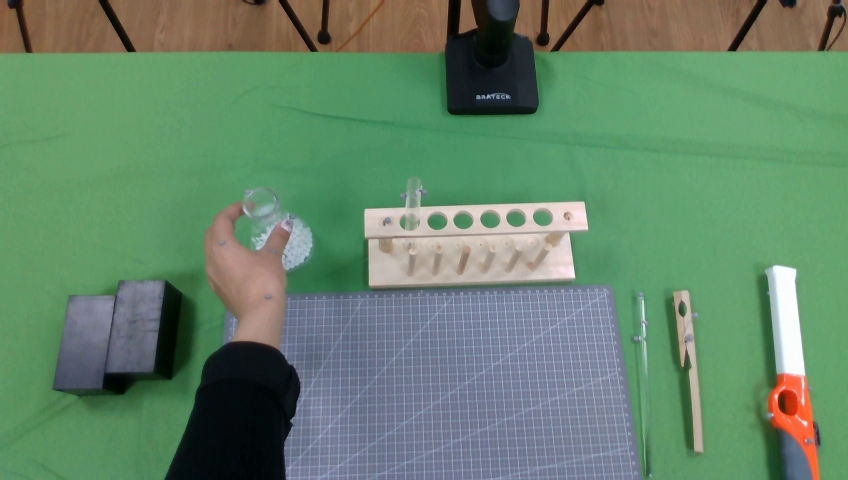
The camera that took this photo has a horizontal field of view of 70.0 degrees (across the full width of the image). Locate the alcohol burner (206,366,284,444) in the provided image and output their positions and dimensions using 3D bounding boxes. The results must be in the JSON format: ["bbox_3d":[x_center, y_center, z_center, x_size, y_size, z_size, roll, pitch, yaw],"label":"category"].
[{"bbox_3d":[-0.182,0.162,0.603,0.078,0.120,0.077,0,68,1],"label":"alcohol burner"}]

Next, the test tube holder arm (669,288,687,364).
[{"bbox_3d":[0.295,0.099,0.699,0.010,0.015,0.087,-14,66,33],"label":"test tube holder arm"}]

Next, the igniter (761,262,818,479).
[{"bbox_3d":[0.404,0.157,0.674,0.057,0.025,0.274,10,70,-9],"label":"igniter"}]

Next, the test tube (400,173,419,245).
[{"bbox_3d":[-0.016,-0.029,0.646,0.017,0.151,0.017,1,67,-3],"label":"test tube"}]

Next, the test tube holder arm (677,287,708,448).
[{"bbox_3d":[0.300,0.140,0.680,0.013,0.015,0.177,-15,65,33],"label":"test tube holder arm"}]

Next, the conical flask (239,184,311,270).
[{"bbox_3d":[-0.170,-0.019,0.669,0.075,0.122,0.075,1,69,-2],"label":"conical flask"}]

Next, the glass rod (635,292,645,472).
[{"bbox_3d":[0.242,0.155,0.679,0.008,0.008,0.198,5,72,0],"label":"glass rod"}]

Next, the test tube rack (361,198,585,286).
[{"bbox_3d":[0.053,0.004,0.689,0.242,0.085,0.066,-2,69,-3],"label":"test tube rack"}]

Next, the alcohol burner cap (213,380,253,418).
[{"bbox_3d":[-0.181,0.147,0.570,0.034,0.048,0.033,2,65,-5],"label":"alcohol burner cap"}]
